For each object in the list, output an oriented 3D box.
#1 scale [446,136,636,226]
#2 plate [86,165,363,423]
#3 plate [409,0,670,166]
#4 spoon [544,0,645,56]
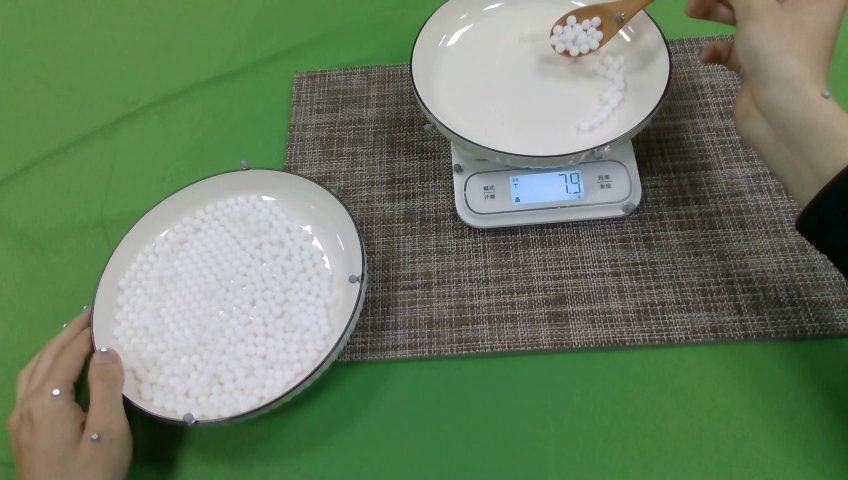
[{"bbox_3d":[0.092,-0.107,0.521,0.148,0.032,0.199,-4,60,3],"label":"scale"},{"bbox_3d":[-0.146,0.037,0.461,0.209,0.038,0.207,-3,61,6],"label":"plate"},{"bbox_3d":[0.092,-0.142,0.503,0.207,0.039,0.206,-2,60,4],"label":"plate"},{"bbox_3d":[0.181,-0.191,0.457,0.193,0.022,0.041,-18,79,37],"label":"spoon"}]
